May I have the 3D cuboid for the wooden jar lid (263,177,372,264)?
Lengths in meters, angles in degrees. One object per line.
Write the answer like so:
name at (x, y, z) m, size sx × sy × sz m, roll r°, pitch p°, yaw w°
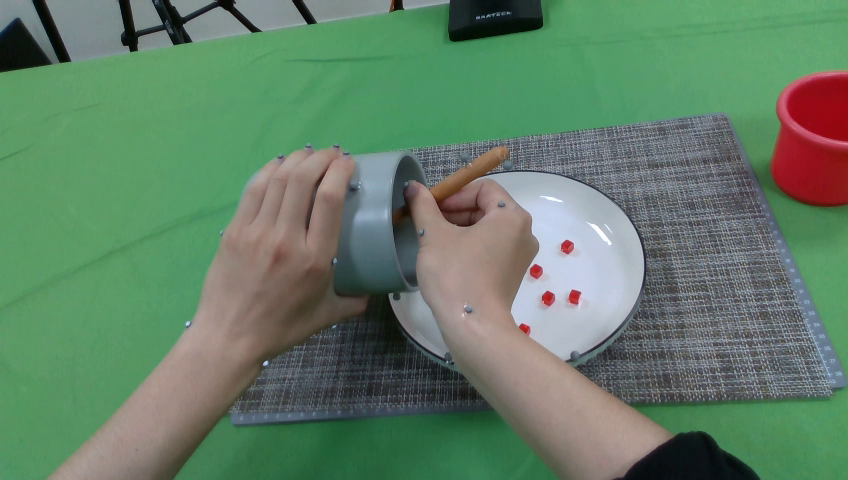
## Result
wooden jar lid at (-0.102, -0.018, 0.591) m, size 0.108 × 0.021 × 0.107 m, roll -6°, pitch 48°, yaw 7°

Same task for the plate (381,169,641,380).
plate at (0.068, 0.026, 0.498) m, size 0.207 × 0.039 × 0.205 m, roll -7°, pitch 49°, yaw 8°

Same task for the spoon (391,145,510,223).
spoon at (-0.019, -0.022, 0.440) m, size 0.193 × 0.022 × 0.041 m, roll -25°, pitch 55°, yaw 28°

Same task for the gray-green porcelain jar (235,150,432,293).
gray-green porcelain jar at (-0.068, -0.012, 0.461) m, size 0.126 × 0.107 × 0.105 m, roll -2°, pitch 50°, yaw 16°
